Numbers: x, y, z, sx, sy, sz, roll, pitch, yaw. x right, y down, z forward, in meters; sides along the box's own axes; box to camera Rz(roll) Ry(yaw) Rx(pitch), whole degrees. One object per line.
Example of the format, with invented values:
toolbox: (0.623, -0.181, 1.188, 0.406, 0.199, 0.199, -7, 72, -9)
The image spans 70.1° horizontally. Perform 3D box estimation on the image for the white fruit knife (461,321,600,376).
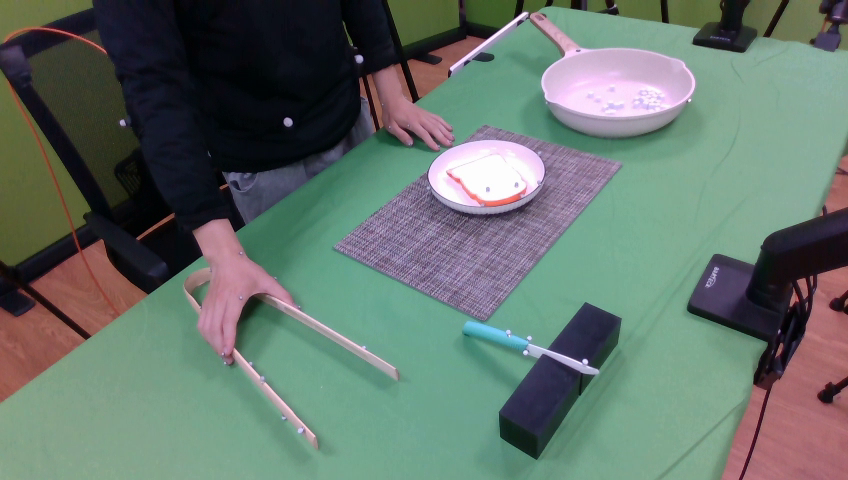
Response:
white fruit knife: (0.126, 0.133, 0.752, 0.205, 0.027, 0.016, 13, 44, 42)

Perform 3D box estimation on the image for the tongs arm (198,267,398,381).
tongs arm: (-0.190, 0.111, 0.862, 0.384, 0.028, 0.028, 22, 51, 30)

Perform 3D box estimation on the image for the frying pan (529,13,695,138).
frying pan: (0.348, -0.368, 1.282, 0.308, 0.103, 0.484, -16, 50, -12)

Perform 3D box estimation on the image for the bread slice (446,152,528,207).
bread slice: (0.117, -0.104, 1.057, 0.107, 0.018, 0.133, -24, 42, -17)

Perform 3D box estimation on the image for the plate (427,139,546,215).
plate: (0.109, -0.107, 1.058, 0.207, 0.039, 0.206, -4, 41, 4)

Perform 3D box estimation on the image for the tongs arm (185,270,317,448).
tongs arm: (-0.239, 0.145, 0.823, 0.051, 0.026, 0.381, -34, 46, -29)
